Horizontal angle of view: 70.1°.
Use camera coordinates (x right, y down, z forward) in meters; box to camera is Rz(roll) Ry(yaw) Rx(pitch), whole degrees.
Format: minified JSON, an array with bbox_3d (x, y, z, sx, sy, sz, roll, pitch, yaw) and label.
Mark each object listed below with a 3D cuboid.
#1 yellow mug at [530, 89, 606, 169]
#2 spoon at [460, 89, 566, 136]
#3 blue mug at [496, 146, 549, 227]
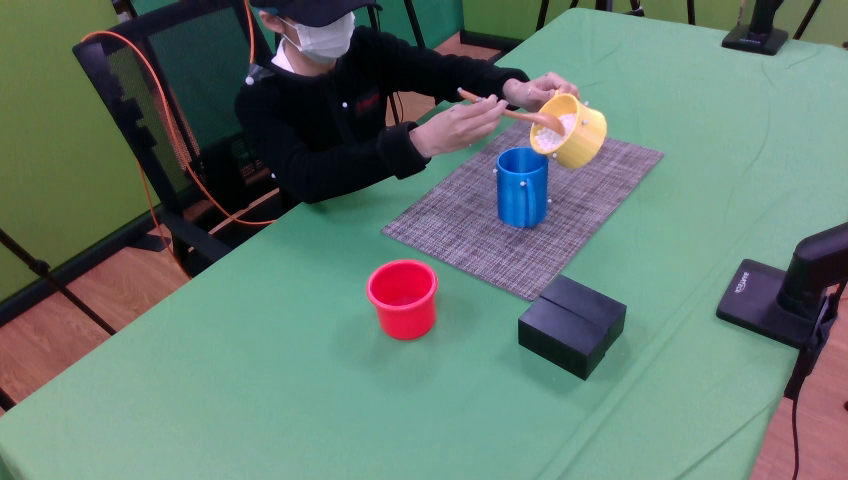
[{"bbox_3d":[0.224,-0.183,0.950,0.064,0.099,0.130,22,56,-31],"label":"yellow mug"},{"bbox_3d":[0.137,-0.190,0.901,0.195,0.021,0.041,10,47,-24],"label":"spoon"},{"bbox_3d":[0.162,-0.076,0.969,0.082,0.106,0.116,-9,40,-1],"label":"blue mug"}]
